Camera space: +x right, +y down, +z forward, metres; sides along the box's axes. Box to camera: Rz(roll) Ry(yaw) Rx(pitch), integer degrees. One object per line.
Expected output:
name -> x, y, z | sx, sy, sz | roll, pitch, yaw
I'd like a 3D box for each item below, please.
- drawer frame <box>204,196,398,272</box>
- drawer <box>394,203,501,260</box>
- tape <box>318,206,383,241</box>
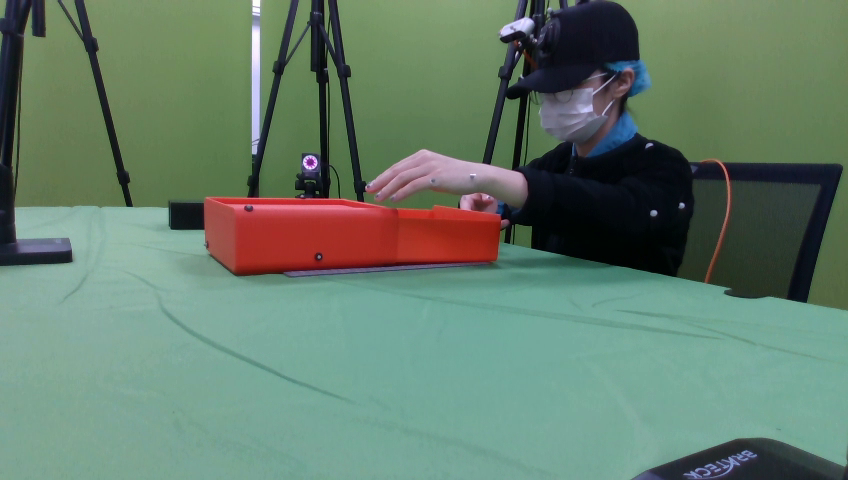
drawer frame -> -0.172, -0.016, 0.828 | 0.215, 0.082, 0.200 | -3, 9, -30
drawer -> -0.025, -0.017, 0.914 | 0.213, 0.073, 0.193 | -1, 9, -31
tape -> -0.129, -0.030, 1.075 | 0.117, 0.052, 0.117 | 3, 8, 0
